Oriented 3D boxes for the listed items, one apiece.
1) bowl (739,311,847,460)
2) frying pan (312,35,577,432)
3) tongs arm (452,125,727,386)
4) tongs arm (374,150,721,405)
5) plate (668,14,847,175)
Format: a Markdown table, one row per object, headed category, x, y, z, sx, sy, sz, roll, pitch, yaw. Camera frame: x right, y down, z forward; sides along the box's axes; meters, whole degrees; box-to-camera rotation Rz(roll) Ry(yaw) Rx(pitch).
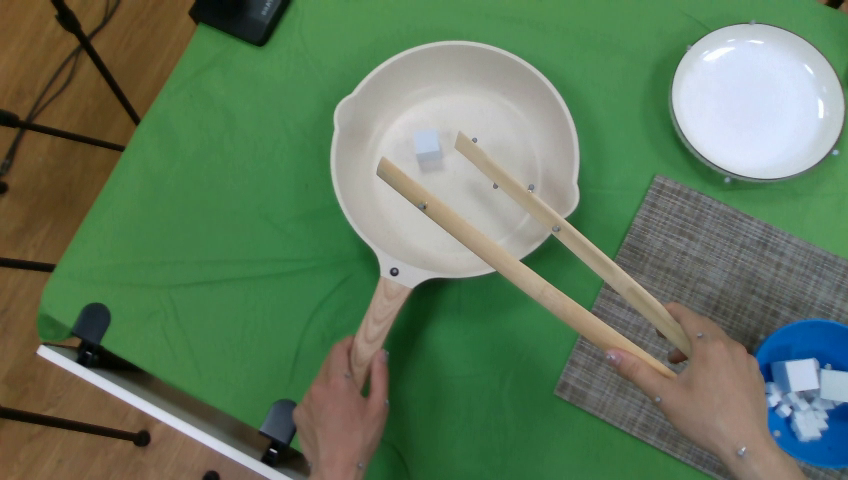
| category | x | y | z | sx | sy | sz | roll | pitch | yaw |
| --- | --- | --- | --- | --- | --- | --- | --- | --- | --- |
| bowl | 0.409 | 0.155 | 0.658 | 0.151 | 0.077 | 0.150 | -1 | 79 | 3 |
| frying pan | -0.010 | -0.011 | 0.705 | 0.306 | 0.103 | 0.486 | 24 | 73 | 8 |
| tongs arm | 0.143 | 0.003 | 0.614 | 0.051 | 0.027 | 0.381 | -23 | 57 | -40 |
| tongs arm | 0.096 | 0.026 | 0.571 | 0.385 | 0.028 | 0.028 | 38 | 39 | 18 |
| plate | 0.405 | -0.176 | 0.749 | 0.207 | 0.039 | 0.206 | -1 | 79 | 3 |
